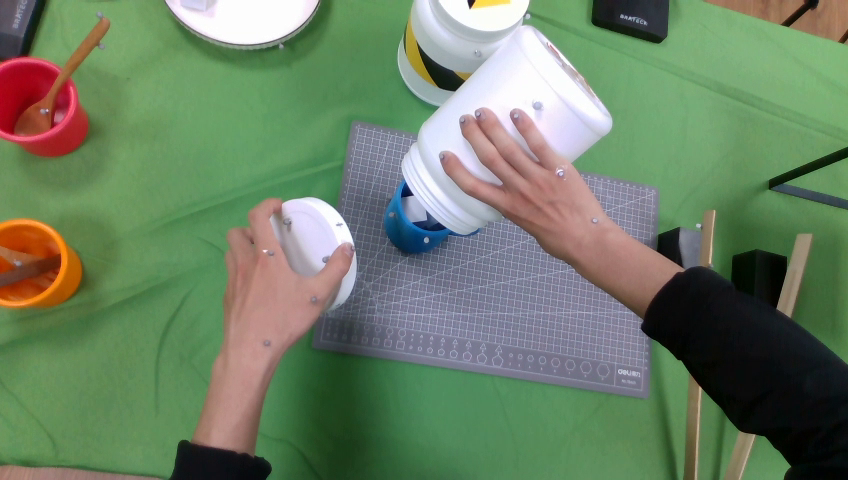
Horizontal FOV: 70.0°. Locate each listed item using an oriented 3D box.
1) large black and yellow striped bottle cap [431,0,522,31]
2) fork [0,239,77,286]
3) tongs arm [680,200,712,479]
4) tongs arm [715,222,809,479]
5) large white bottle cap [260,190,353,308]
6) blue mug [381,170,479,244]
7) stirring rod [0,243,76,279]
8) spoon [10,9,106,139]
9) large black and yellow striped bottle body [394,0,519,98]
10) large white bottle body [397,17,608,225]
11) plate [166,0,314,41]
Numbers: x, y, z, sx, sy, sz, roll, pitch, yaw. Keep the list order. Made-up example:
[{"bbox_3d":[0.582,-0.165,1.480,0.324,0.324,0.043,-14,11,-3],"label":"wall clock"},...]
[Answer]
[{"bbox_3d":[0.058,-0.290,0.674,0.115,0.019,0.114,3,80,-13],"label":"large black and yellow striped bottle cap"},{"bbox_3d":[-0.450,-0.007,0.608,0.209,0.018,0.028,44,65,-47],"label":"fork"},{"bbox_3d":[0.367,0.142,0.791,0.051,0.026,0.384,6,90,-14],"label":"tongs arm"},{"bbox_3d":[0.445,0.158,0.808,0.028,0.027,0.387,20,87,-17],"label":"tongs arm"},{"bbox_3d":[-0.116,0.009,0.589,0.018,0.114,0.114,-13,80,-54],"label":"large white bottle cap"},{"bbox_3d":[0.011,-0.040,0.741,0.117,0.106,0.082,18,75,-9],"label":"blue mug"},{"bbox_3d":[-0.434,0.035,0.610,0.014,0.006,0.176,57,31,-1],"label":"stirring rod"},{"bbox_3d":[-0.397,-0.177,0.656,0.194,0.021,0.041,-38,85,27],"label":"spoon"},{"bbox_3d":[0.040,-0.272,0.754,0.131,0.184,0.130,3,78,-12],"label":"large black and yellow striped bottle body"},{"bbox_3d":[0.073,-0.111,0.607,0.185,0.130,0.130,-40,89,25],"label":"large white bottle body"},{"bbox_3d":[-0.238,-0.349,0.780,0.208,0.039,0.206,3,79,-12],"label":"plate"}]
